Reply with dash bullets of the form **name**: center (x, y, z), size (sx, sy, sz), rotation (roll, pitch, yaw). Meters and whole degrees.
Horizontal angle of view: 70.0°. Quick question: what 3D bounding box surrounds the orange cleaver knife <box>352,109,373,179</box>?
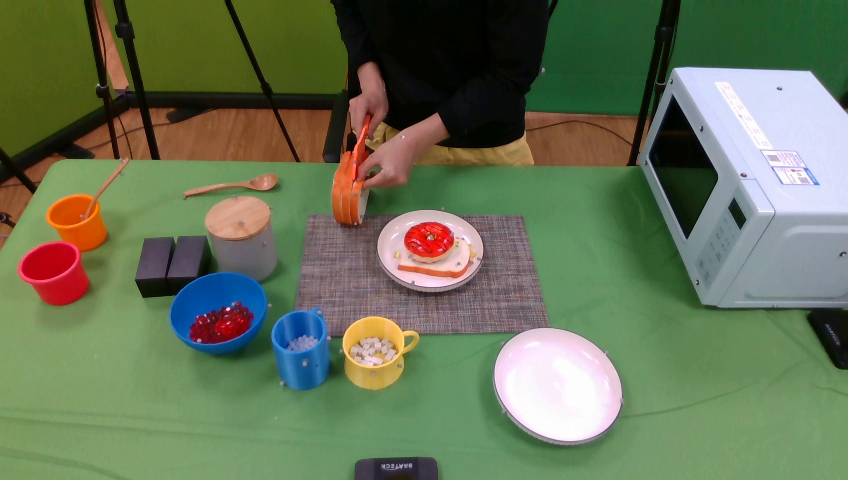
- **orange cleaver knife**: center (-0.126, -0.200, 1.241), size (0.012, 0.077, 0.210), rotation (7, 37, 1)

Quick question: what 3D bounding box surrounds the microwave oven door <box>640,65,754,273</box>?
- **microwave oven door**: center (0.523, -0.147, 1.193), size (0.039, 0.245, 0.353), rotation (0, 47, -3)

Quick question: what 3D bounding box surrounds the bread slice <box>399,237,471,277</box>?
- **bread slice**: center (0.025, 0.025, 1.161), size (0.131, 0.019, 0.104), rotation (7, 47, 8)

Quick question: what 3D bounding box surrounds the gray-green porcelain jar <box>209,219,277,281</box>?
- **gray-green porcelain jar**: center (-0.323, 0.007, 1.092), size (0.106, 0.127, 0.105), rotation (2, 46, -2)

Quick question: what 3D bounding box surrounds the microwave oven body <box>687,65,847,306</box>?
- **microwave oven body**: center (0.669, -0.111, 1.176), size (0.326, 0.261, 0.439), rotation (0, 46, -3)

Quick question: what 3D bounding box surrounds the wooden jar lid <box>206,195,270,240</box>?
- **wooden jar lid**: center (-0.319, -0.036, 1.046), size (0.108, 0.021, 0.107), rotation (1, 44, 0)

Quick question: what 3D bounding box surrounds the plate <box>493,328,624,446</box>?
- **plate**: center (0.213, 0.236, 0.974), size (0.208, 0.039, 0.206), rotation (2, 46, -2)

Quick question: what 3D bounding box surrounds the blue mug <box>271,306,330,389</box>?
- **blue mug**: center (-0.188, 0.163, 0.969), size (0.082, 0.106, 0.116), rotation (15, 47, 10)

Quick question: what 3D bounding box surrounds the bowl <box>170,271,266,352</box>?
- **bowl**: center (-0.334, 0.132, 1.006), size (0.151, 0.077, 0.150), rotation (2, 46, -2)

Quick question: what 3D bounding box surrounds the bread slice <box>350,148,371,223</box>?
- **bread slice**: center (-0.128, -0.101, 1.226), size (0.018, 0.107, 0.133), rotation (4, 53, 4)

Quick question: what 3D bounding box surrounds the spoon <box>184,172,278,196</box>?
- **spoon**: center (-0.405, -0.116, 1.275), size (0.194, 0.022, 0.041), rotation (-8, 66, -12)

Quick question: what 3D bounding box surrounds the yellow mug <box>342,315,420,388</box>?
- **yellow mug**: center (-0.068, 0.177, 0.990), size (0.131, 0.064, 0.099), rotation (-15, 50, -19)

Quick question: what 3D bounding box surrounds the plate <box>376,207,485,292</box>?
- **plate**: center (0.012, 0.021, 1.158), size (0.209, 0.038, 0.208), rotation (2, 47, -2)

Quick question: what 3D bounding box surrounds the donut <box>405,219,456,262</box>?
- **donut**: center (0.012, -0.001, 1.141), size (0.099, 0.048, 0.098), rotation (0, 44, 0)

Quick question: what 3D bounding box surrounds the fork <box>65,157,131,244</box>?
- **fork**: center (-0.608, -0.074, 1.132), size (0.207, 0.019, 0.028), rotation (-52, 48, 10)

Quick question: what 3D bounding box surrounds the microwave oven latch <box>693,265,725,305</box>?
- **microwave oven latch**: center (0.522, 0.081, 1.115), size (0.030, 0.029, 0.078), rotation (2, 46, -1)
